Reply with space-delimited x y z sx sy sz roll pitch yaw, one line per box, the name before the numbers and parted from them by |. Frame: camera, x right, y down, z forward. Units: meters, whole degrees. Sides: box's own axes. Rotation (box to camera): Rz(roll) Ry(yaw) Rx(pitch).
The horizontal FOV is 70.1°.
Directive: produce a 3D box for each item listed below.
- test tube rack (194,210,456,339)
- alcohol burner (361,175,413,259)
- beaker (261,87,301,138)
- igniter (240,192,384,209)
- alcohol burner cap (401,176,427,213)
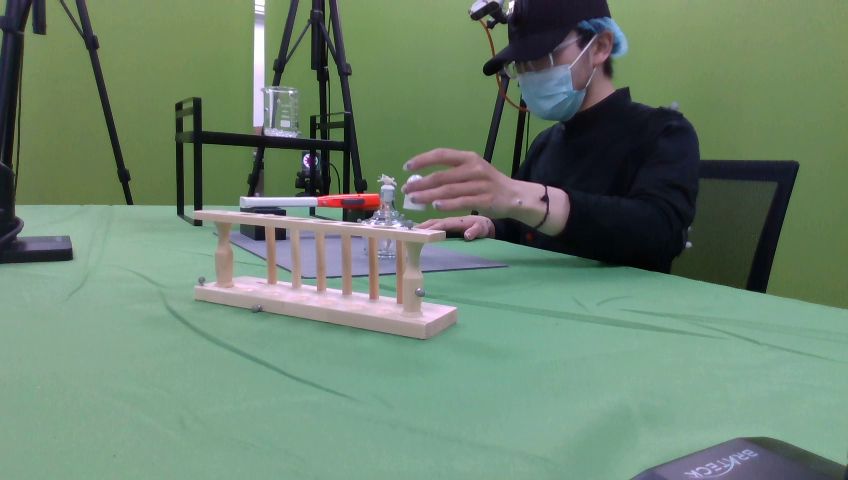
test tube rack | -0.093 0.023 0.545 0.241 0.085 0.067 6 8 25
alcohol burner | -0.054 -0.033 0.870 0.078 0.119 0.078 1 9 0
beaker | -0.298 -0.263 1.255 0.084 0.100 0.073 -5 10 -40
igniter | -0.188 -0.070 1.078 0.278 0.025 0.057 -5 11 -35
alcohol burner cap | -0.012 -0.061 0.806 0.034 0.048 0.034 7 7 -1
